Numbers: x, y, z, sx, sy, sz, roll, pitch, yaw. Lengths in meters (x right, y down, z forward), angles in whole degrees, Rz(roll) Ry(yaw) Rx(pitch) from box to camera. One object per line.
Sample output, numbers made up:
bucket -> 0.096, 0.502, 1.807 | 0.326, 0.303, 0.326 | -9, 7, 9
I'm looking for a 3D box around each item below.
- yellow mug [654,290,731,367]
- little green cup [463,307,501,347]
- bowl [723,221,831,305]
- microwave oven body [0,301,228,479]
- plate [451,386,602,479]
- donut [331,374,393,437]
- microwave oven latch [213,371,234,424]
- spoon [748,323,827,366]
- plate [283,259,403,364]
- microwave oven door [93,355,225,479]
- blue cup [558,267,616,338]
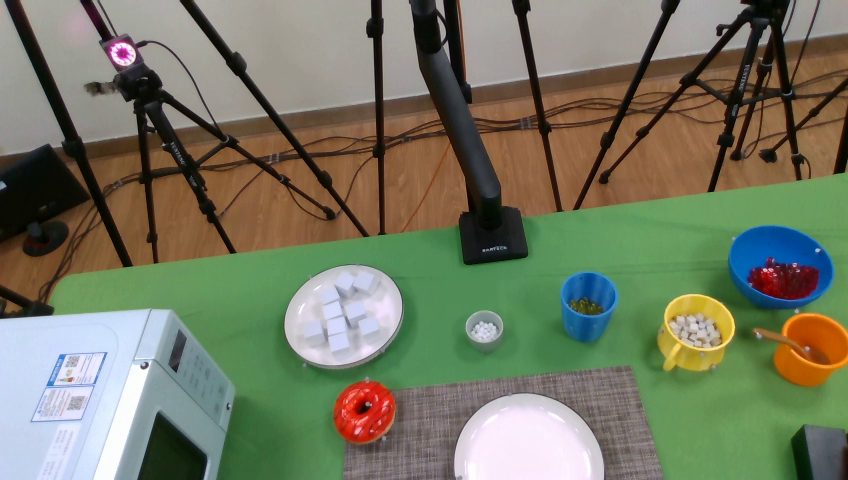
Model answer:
yellow mug -> 0.400, 0.144, 0.927 | 0.130, 0.064, 0.099 | -41, 57, -21
little green cup -> 0.097, 0.145, 0.994 | 0.061, 0.039, 0.061 | -5, 50, 6
bowl -> 0.553, 0.051, 0.970 | 0.151, 0.077, 0.150 | -5, 52, 6
microwave oven body -> -0.482, 0.335, 0.783 | 0.326, 0.263, 0.437 | -4, 52, 5
plate -> 0.142, 0.310, 0.849 | 0.209, 0.038, 0.207 | -5, 51, 6
donut -> -0.095, 0.253, 0.928 | 0.099, 0.049, 0.098 | -5, 52, 7
microwave oven latch -> -0.322, 0.247, 0.954 | 0.030, 0.030, 0.078 | -2, 52, 7
spoon -> 0.515, 0.143, 0.857 | 0.021, 0.195, 0.041 | -41, 39, 35
plate -> -0.136, 0.126, 1.046 | 0.207, 0.039, 0.205 | -4, 51, 6
microwave oven door -> -0.338, 0.353, 0.739 | 0.039, 0.246, 0.352 | -4, 51, 6
blue cup -> 0.253, 0.106, 0.959 | 0.092, 0.101, 0.091 | -4, 53, 5
